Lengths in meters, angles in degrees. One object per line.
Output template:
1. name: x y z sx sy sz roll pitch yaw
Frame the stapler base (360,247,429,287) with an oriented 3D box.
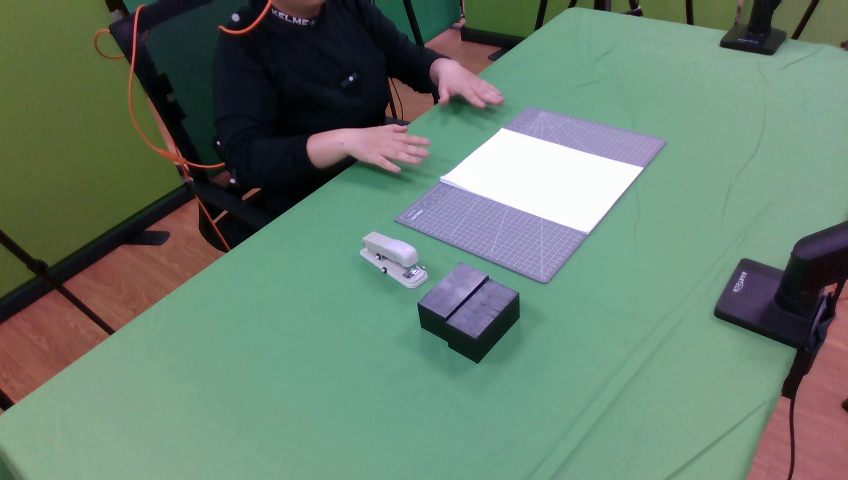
1. stapler base: -0.048 0.031 0.948 0.041 0.024 0.129 -34 45 -31

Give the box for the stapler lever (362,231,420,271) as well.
1. stapler lever: -0.052 0.011 0.933 0.027 0.040 0.117 -34 45 -31
